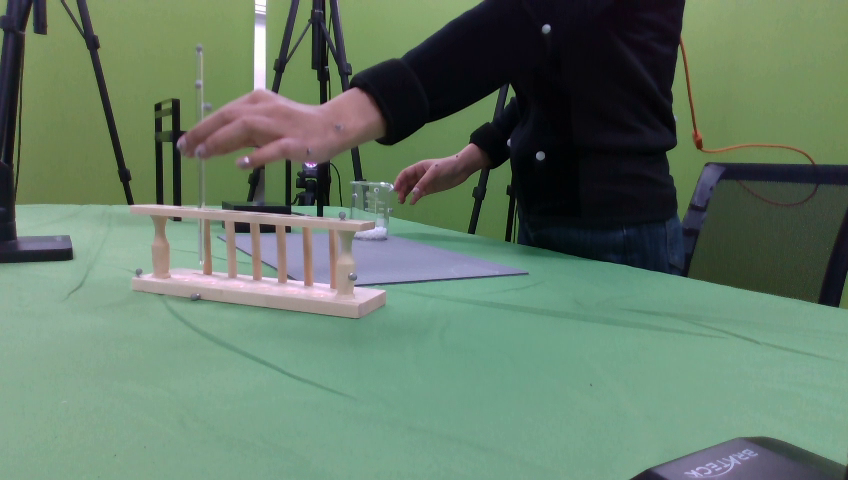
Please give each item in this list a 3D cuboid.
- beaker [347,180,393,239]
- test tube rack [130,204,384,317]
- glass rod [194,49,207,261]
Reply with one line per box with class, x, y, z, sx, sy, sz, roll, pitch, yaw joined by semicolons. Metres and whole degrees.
beaker;-0.095;-0.054;1.064;0.084;0.100;0.074;6;9;21
test tube rack;-0.163;0.013;0.589;0.242;0.085;0.067;5;8;17
glass rod;-0.212;-0.077;0.573;0.008;0.199;0.008;3;12;0
